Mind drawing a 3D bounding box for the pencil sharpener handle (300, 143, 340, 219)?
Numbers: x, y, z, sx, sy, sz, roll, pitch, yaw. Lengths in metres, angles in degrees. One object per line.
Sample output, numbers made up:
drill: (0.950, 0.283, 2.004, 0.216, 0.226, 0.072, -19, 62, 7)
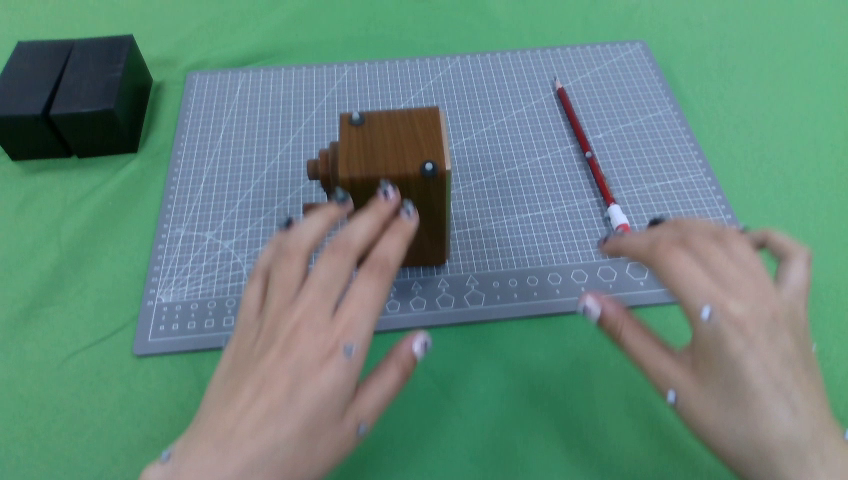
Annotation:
pencil sharpener handle: (-0.074, -0.036, 0.412, 0.030, 0.068, 0.035, -4, 56, -1)

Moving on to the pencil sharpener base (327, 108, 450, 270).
pencil sharpener base: (-0.023, -0.031, 0.423, 0.077, 0.108, 0.061, -4, 54, -2)

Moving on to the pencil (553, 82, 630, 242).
pencil: (0.137, -0.075, 0.515, 0.012, 0.012, 0.192, -7, 53, -5)
